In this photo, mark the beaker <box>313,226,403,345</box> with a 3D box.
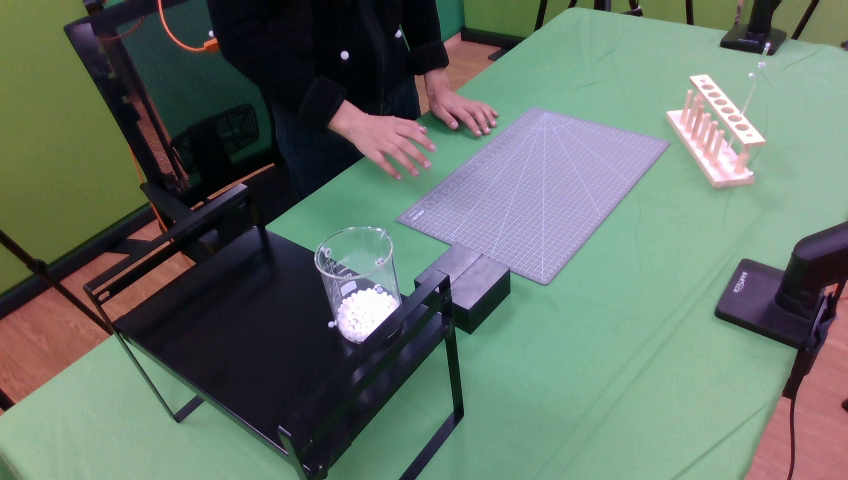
[{"bbox_3d":[-0.059,0.046,0.594,0.073,0.101,0.084,23,49,30],"label":"beaker"}]

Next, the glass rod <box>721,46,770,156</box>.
[{"bbox_3d":[0.533,-0.226,1.006,0.008,0.200,0.008,1,41,-1],"label":"glass rod"}]

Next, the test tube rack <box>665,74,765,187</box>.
[{"bbox_3d":[0.512,-0.201,1.082,0.067,0.085,0.241,-6,41,2],"label":"test tube rack"}]
